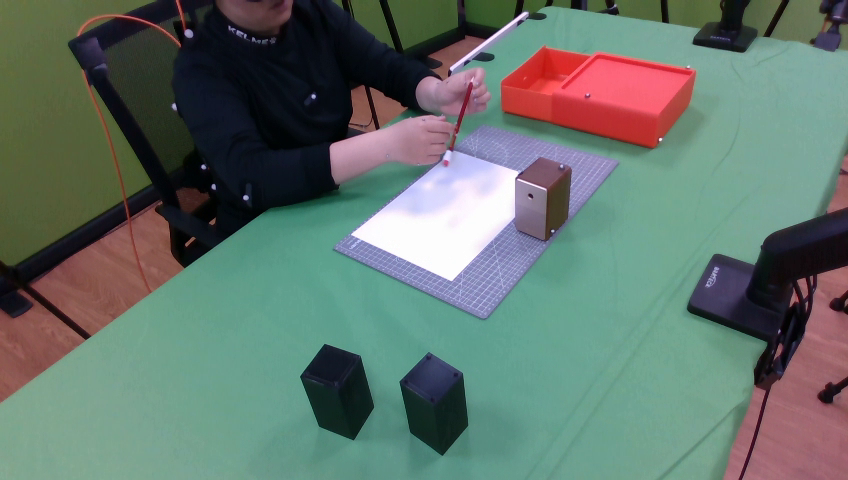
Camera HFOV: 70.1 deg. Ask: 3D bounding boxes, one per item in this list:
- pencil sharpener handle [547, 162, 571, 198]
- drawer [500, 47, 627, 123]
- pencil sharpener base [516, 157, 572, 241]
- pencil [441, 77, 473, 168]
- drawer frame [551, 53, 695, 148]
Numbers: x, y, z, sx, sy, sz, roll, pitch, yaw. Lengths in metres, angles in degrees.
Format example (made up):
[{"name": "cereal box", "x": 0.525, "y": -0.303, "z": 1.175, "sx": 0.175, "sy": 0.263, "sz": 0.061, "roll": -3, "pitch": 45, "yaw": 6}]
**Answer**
[{"name": "pencil sharpener handle", "x": 0.221, "y": -0.102, "z": 0.968, "sx": 0.035, "sy": 0.068, "sz": 0.031, "roll": 20, "pitch": 47, "yaw": 37}, {"name": "drawer", "x": 0.296, "y": -0.316, "z": 1.255, "sx": 0.210, "sy": 0.073, "sz": 0.195, "roll": 21, "pitch": 47, "yaw": 30}, {"name": "pencil sharpener base", "x": 0.189, "y": -0.065, "z": 0.948, "sx": 0.061, "sy": 0.107, "sz": 0.077, "roll": 24, "pitch": 49, "yaw": 33}, {"name": "pencil", "x": 0.060, "y": -0.206, "z": 1.037, "sx": 0.012, "sy": 0.012, "sz": 0.193, "roll": 9, "pitch": 66, "yaw": 19}, {"name": "drawer frame", "x": 0.391, "y": -0.281, "z": 1.196, "sx": 0.212, "sy": 0.083, "sz": 0.202, "roll": 22, "pitch": 48, "yaw": 29}]
